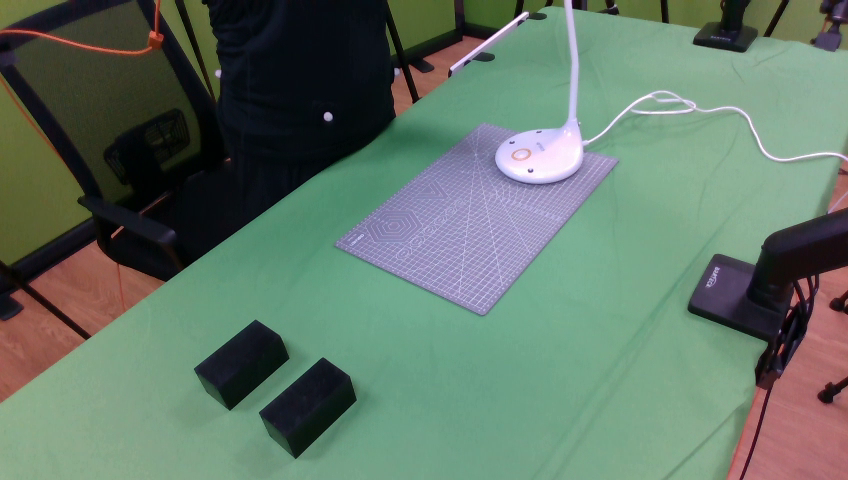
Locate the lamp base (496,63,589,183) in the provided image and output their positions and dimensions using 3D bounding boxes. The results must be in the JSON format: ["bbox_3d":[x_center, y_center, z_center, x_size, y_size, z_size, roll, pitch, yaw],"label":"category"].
[{"bbox_3d":[0.216,-0.217,1.067,0.180,0.181,0.159,-19,42,-18],"label":"lamp base"}]
